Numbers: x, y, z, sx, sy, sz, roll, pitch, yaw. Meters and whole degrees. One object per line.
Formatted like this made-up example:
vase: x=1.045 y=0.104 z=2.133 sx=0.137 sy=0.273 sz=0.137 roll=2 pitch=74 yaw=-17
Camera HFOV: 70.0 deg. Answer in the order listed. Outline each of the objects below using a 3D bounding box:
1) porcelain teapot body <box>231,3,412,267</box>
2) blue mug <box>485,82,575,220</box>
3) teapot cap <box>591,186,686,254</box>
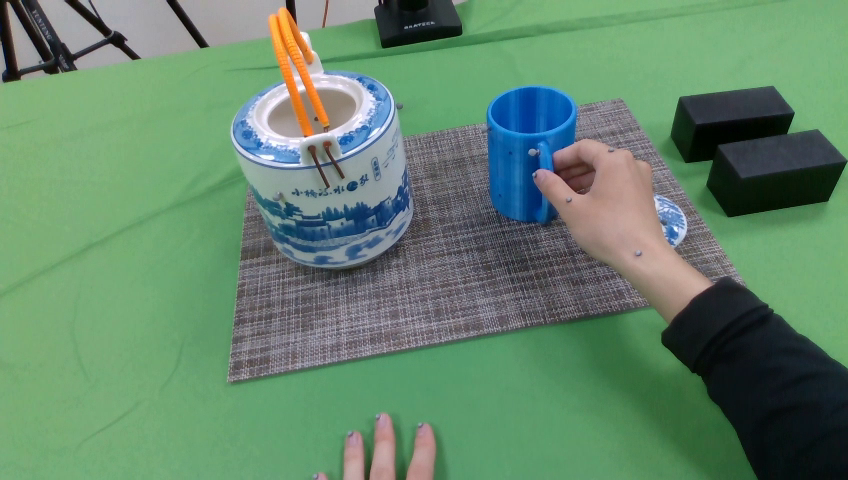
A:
porcelain teapot body: x=-0.101 y=-0.111 z=0.560 sx=0.145 sy=0.227 sz=0.203 roll=-16 pitch=46 yaw=-6
blue mug: x=0.104 y=-0.075 z=0.579 sx=0.082 sy=0.107 sz=0.115 roll=-9 pitch=46 yaw=0
teapot cap: x=0.198 y=-0.024 z=0.560 sx=0.085 sy=0.044 sz=0.084 roll=-3 pitch=45 yaw=3
